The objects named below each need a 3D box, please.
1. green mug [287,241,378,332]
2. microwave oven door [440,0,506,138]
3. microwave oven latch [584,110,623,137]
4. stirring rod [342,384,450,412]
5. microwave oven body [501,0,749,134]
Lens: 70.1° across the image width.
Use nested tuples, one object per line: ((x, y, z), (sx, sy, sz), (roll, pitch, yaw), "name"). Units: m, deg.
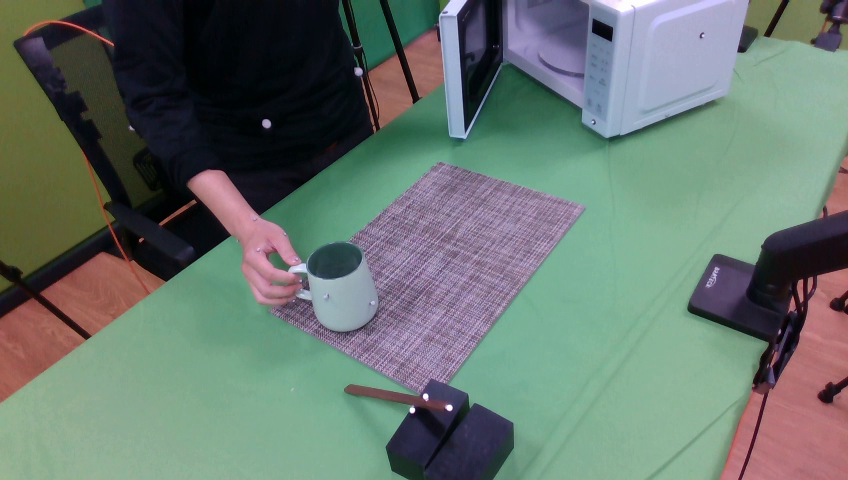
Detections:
((-0.131, 0.065, 0.843), (0.125, 0.105, 0.092), (3, 42, 12), "green mug")
((0.108, -0.406, 1.231), (0.039, 0.245, 0.355), (7, 43, 18), "microwave oven door")
((0.337, -0.222, 1.142), (0.030, 0.029, 0.078), (-21, 42, -15), "microwave oven latch")
((-0.038, 0.186, 0.714), (0.175, 0.006, 0.014), (-3, 22, 43), "stirring rod")
((0.382, -0.445, 1.246), (0.327, 0.261, 0.437), (-22, 42, -16), "microwave oven body")
